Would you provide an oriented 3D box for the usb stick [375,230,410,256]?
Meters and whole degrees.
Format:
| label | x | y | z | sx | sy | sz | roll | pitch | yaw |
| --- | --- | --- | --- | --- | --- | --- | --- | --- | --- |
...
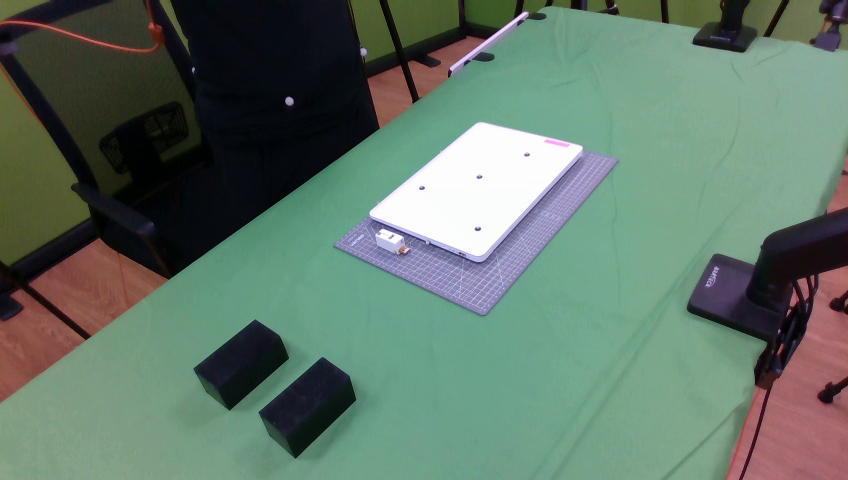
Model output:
| label | x | y | z | sx | sy | sz | roll | pitch | yaw |
| --- | --- | --- | --- | --- | --- | --- | --- | --- | --- |
| usb stick | -0.049 | 0.007 | 0.962 | 0.059 | 0.027 | 0.021 | 25 | 46 | 28 |

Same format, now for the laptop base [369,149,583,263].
| label | x | y | z | sx | sy | sz | roll | pitch | yaw |
| --- | --- | --- | --- | --- | --- | --- | --- | --- | --- |
| laptop base | 0.101 | -0.096 | 1.071 | 0.233 | 0.023 | 0.355 | 20 | 47 | 32 |

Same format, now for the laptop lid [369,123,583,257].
| label | x | y | z | sx | sy | sz | roll | pitch | yaw |
| --- | --- | --- | --- | --- | --- | --- | --- | --- | --- |
| laptop lid | 0.097 | -0.106 | 1.065 | 0.239 | 0.013 | 0.358 | 22 | 48 | 33 |
